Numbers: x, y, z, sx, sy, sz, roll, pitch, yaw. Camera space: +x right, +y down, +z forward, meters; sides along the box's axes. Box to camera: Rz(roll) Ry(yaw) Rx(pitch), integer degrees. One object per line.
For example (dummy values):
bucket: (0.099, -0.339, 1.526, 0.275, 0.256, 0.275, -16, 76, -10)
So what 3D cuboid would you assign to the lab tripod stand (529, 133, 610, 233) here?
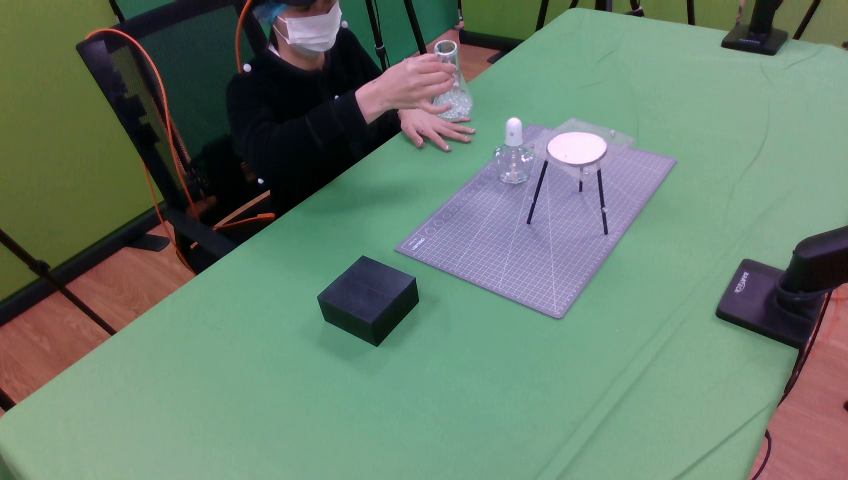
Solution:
lab tripod stand: (0.236, -0.089, 0.953, 0.148, 0.132, 0.147, -5, 42, 5)

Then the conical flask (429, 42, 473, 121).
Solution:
conical flask: (0.040, -0.261, 0.985, 0.075, 0.122, 0.075, -4, 53, 6)

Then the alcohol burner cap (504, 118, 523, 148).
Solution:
alcohol burner cap: (0.154, -0.186, 1.042, 0.034, 0.048, 0.033, -4, 33, 3)

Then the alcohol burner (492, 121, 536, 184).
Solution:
alcohol burner: (0.159, -0.158, 1.064, 0.078, 0.119, 0.077, -3, 41, 3)

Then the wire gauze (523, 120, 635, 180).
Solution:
wire gauze: (0.233, -0.143, 0.913, 0.122, 0.011, 0.124, -32, 45, -25)
